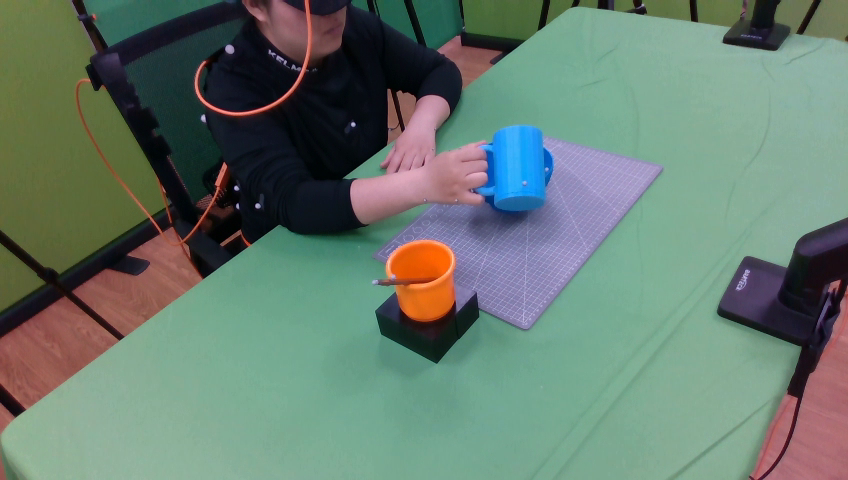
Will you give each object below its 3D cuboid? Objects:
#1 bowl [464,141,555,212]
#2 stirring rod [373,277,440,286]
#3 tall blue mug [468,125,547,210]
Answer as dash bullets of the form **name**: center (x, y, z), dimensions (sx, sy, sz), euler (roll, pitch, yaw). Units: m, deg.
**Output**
- **bowl**: center (0.145, -0.100, 1.025), dimensions (0.151, 0.077, 0.150), euler (-5, 40, 5)
- **stirring rod**: center (-0.018, 0.051, 0.758), dimensions (0.014, 0.006, 0.177), euler (13, 3, 23)
- **tall blue mug**: center (0.128, -0.107, 0.893), dimensions (0.108, 0.077, 0.107), euler (5, 76, -22)
